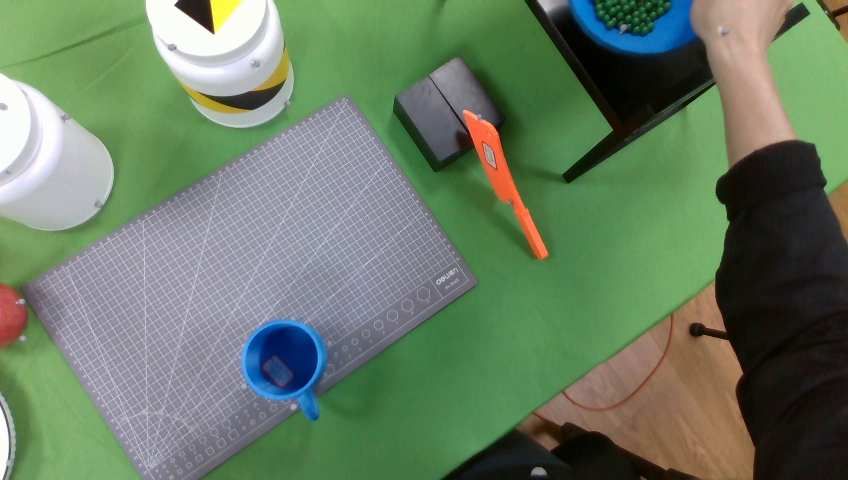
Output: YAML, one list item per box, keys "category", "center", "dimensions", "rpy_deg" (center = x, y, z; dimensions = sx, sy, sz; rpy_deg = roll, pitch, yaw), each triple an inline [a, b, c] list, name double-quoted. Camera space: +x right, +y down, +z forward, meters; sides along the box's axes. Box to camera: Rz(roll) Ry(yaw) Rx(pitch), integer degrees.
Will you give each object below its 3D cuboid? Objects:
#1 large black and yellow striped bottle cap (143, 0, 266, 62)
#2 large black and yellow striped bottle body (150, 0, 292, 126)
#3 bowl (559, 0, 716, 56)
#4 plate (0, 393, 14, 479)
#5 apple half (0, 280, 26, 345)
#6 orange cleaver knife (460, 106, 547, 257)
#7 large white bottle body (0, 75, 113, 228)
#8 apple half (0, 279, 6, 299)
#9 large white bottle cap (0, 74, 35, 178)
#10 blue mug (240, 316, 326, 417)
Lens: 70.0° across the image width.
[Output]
- category: "large black and yellow striped bottle cap"
  center: [-0.217, -0.234, 0.600]
  dimensions: [0.115, 0.019, 0.114]
  rpy_deg: [1, 82, -8]
- category: "large black and yellow striped bottle body"
  center: [-0.225, -0.219, 0.682]
  dimensions: [0.131, 0.184, 0.130]
  rpy_deg: [1, 81, -6]
- category: "bowl"
  center: [0.193, -0.244, 0.579]
  dimensions: [0.151, 0.076, 0.151]
  rpy_deg: [0, 94, -1]
- category: "plate"
  center: [-0.549, 0.223, 0.650]
  dimensions: [0.209, 0.038, 0.208]
  rpy_deg: [1, 82, -7]
- category: "apple half"
  center: [-0.473, 0.089, 0.662]
  dimensions: [0.053, 0.074, 0.080]
  rpy_deg: [42, 76, -3]
- category: "orange cleaver knife"
  center: [0.098, -0.069, 0.748]
  dimensions: [0.012, 0.076, 0.213]
  rpy_deg: [-35, 118, -11]
- category: "large white bottle body"
  center: [-0.429, -0.092, 0.638]
  dimensions: [0.131, 0.185, 0.130]
  rpy_deg: [1, 80, -6]
- category: "apple half"
  center: [-0.502, 0.063, 0.661]
  dimensions: [0.033, 0.081, 0.081]
  rpy_deg: [42, 79, -4]
- category: "large white bottle cap"
  center: [-0.421, -0.105, 0.554]
  dimensions: [0.115, 0.018, 0.114]
  rpy_deg: [1, 81, -6]
- category: "blue mug"
  center: [-0.147, 0.143, 0.675]
  dimensions: [0.082, 0.106, 0.116]
  rpy_deg: [-25, 85, -10]
